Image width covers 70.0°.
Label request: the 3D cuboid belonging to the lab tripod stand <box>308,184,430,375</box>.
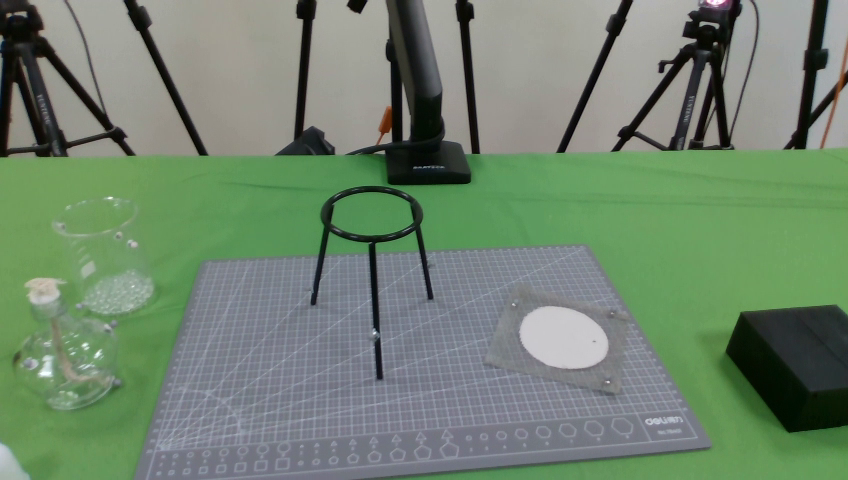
[{"bbox_3d":[-0.047,0.028,0.559,0.148,0.132,0.147,3,34,-2],"label":"lab tripod stand"}]

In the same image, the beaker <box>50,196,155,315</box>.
[{"bbox_3d":[-0.310,0.016,0.597,0.074,0.101,0.083,5,33,2],"label":"beaker"}]

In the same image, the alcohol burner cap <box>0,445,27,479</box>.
[{"bbox_3d":[-0.305,0.163,0.426,0.034,0.048,0.033,2,33,-1],"label":"alcohol burner cap"}]

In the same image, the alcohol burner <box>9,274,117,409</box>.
[{"bbox_3d":[-0.295,0.078,0.490,0.078,0.120,0.077,3,31,-1],"label":"alcohol burner"}]

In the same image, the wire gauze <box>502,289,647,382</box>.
[{"bbox_3d":[0.138,0.084,0.574,0.125,0.011,0.120,7,31,-5],"label":"wire gauze"}]
